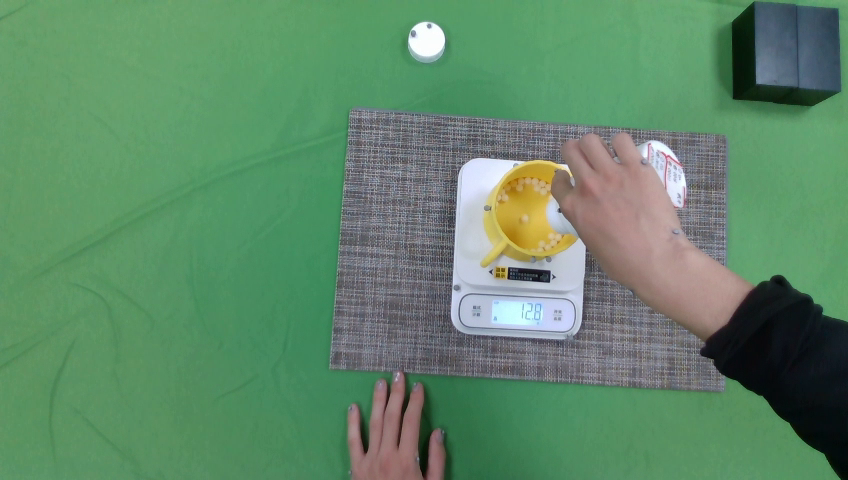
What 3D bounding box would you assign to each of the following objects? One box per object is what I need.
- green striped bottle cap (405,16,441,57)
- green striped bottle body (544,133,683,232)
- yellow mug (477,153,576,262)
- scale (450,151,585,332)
[{"bbox_3d":[-0.001,-0.242,0.719,0.044,0.020,0.044,0,87,-2],"label":"green striped bottle cap"},{"bbox_3d":[0.167,-0.046,0.554,0.063,0.119,0.063,14,66,-34],"label":"green striped bottle body"},{"bbox_3d":[0.103,-0.025,0.641,0.100,0.064,0.131,43,85,2],"label":"yellow mug"},{"bbox_3d":[0.107,0.001,0.686,0.149,0.031,0.200,3,85,-2],"label":"scale"}]
